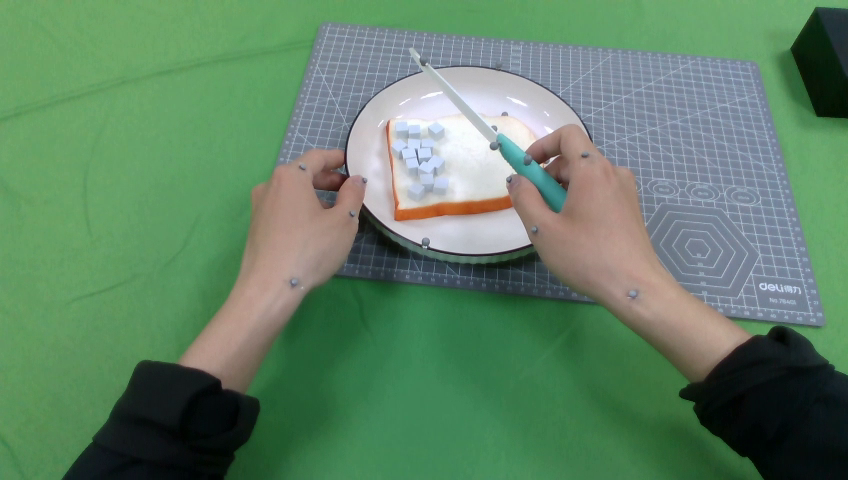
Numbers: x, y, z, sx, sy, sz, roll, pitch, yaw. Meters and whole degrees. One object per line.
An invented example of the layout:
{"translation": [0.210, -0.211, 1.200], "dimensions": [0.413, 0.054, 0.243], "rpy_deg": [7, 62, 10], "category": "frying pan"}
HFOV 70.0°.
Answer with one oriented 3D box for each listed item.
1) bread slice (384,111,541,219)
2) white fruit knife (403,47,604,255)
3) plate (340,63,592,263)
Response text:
{"translation": [0.032, -0.070, 0.517], "dimensions": [0.132, 0.019, 0.104], "rpy_deg": [-6, 58, -5], "category": "bread slice"}
{"translation": [0.055, -0.068, 0.439], "dimensions": [0.016, 0.027, 0.207], "rpy_deg": [-43, 84, -11], "category": "white fruit knife"}
{"translation": [0.034, -0.066, 0.512], "dimensions": [0.209, 0.038, 0.207], "rpy_deg": [1, 58, -1], "category": "plate"}
